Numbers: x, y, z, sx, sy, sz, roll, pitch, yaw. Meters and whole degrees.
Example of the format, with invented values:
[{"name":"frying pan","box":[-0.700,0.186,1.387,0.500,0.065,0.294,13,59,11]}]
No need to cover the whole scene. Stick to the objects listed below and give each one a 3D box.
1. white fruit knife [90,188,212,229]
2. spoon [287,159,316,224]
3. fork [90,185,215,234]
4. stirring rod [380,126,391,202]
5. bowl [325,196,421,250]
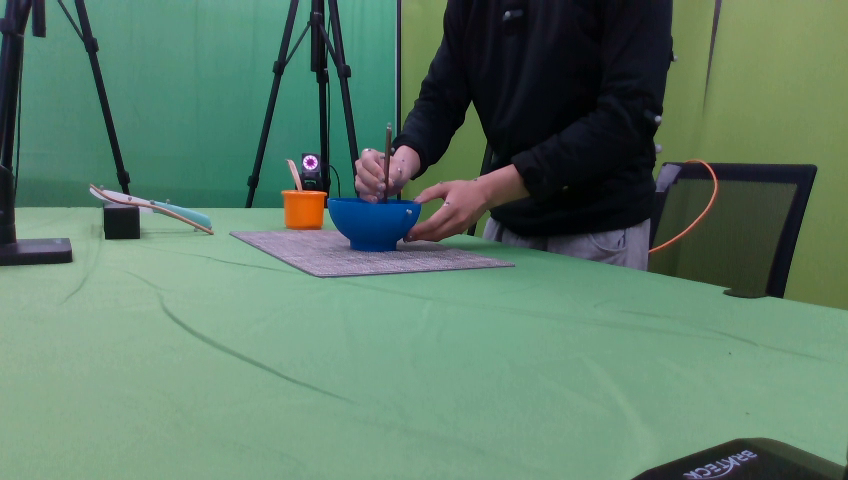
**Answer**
[{"name":"white fruit knife","box":[-0.478,-0.058,1.073,0.208,0.027,0.016,17,-4,-30]},{"name":"spoon","box":[-0.261,-0.104,1.263,0.042,0.193,0.021,0,-37,-28]},{"name":"fork","box":[-0.452,-0.049,1.018,0.208,0.018,0.028,21,-7,-33]},{"name":"stirring rod","box":[-0.060,-0.085,0.906,0.006,0.176,0.014,-8,30,-26]},{"name":"bowl","box":[-0.080,-0.027,0.957,0.151,0.077,0.151,2,7,0]}]
